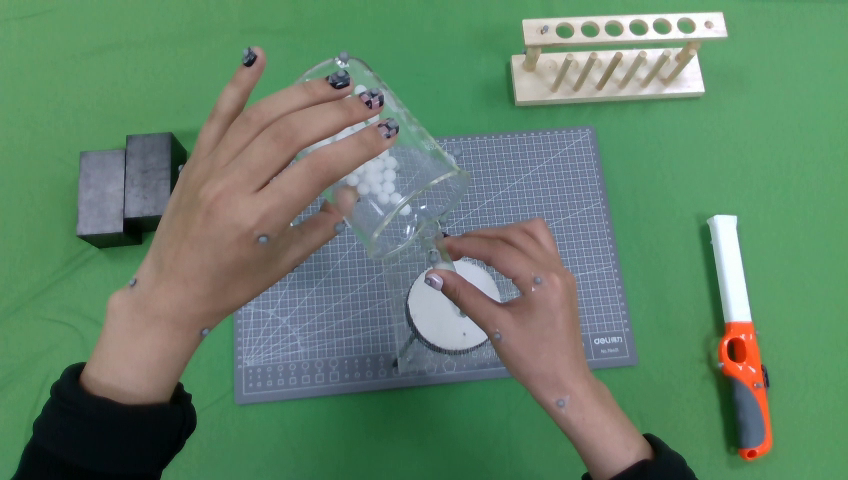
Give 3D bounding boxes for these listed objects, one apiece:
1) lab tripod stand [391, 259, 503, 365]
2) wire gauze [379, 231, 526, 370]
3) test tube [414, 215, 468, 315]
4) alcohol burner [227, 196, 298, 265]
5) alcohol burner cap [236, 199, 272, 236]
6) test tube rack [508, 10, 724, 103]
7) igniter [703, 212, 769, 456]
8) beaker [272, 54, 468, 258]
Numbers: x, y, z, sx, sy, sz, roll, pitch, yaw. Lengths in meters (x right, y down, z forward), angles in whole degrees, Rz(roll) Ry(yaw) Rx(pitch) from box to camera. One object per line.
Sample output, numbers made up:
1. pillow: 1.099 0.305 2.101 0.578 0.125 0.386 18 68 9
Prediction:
1. lab tripod stand: 0.022 0.076 0.628 0.148 0.132 0.147 0 74 0
2. wire gauze: 0.026 0.054 0.564 0.125 0.011 0.120 -6 74 -5
3. test tube: 0.015 0.024 0.447 0.017 0.151 0.017 -5 62 10
4. alcohol burner: -0.178 -0.016 0.654 0.078 0.119 0.077 0 72 -1
5. alcohol burner cap: -0.175 -0.025 0.620 0.034 0.048 0.033 1 76 -6
6. test tube rack: 0.233 -0.224 0.747 0.242 0.085 0.066 -4 75 -3
7. igniter: 0.356 0.101 0.694 0.057 0.025 0.275 2 75 -12
8. beaker: -0.033 -0.050 0.354 0.074 0.084 0.100 -40 77 2
